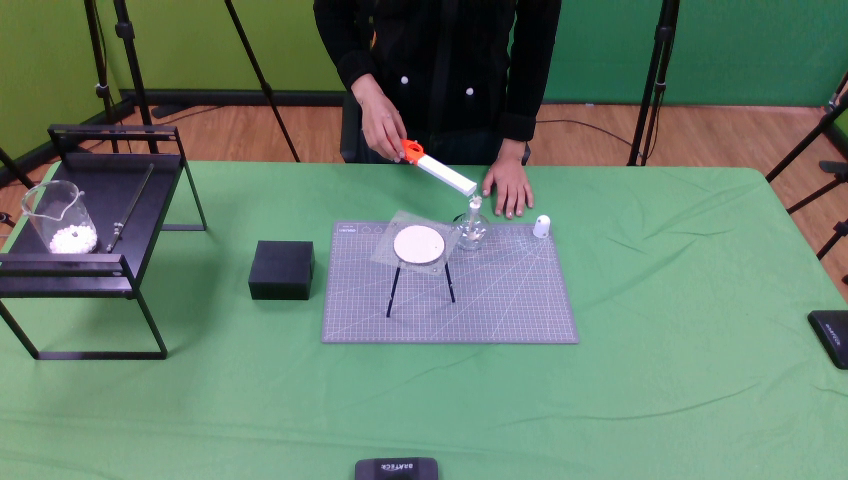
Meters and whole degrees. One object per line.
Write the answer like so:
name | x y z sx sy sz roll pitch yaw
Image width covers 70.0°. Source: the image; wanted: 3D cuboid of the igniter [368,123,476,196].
igniter | -0.012 -0.165 1.206 0.275 0.025 0.057 34 55 25

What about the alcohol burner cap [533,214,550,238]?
alcohol burner cap | 0.240 -0.031 1.228 0.034 0.048 0.033 1 46 -1

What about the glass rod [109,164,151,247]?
glass rod | -0.473 -0.061 0.979 0.008 0.008 0.198 1 46 -3

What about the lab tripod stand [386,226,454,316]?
lab tripod stand | -0.014 0.054 1.064 0.148 0.132 0.147 2 48 -2

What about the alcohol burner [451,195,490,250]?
alcohol burner | 0.092 -0.038 1.175 0.078 0.120 0.077 2 45 -2

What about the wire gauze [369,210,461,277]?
wire gauze | -0.013 0.005 1.017 0.121 0.011 0.124 17 49 12

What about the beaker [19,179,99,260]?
beaker | -0.522 -0.024 0.878 0.074 0.101 0.083 -26 54 -25
